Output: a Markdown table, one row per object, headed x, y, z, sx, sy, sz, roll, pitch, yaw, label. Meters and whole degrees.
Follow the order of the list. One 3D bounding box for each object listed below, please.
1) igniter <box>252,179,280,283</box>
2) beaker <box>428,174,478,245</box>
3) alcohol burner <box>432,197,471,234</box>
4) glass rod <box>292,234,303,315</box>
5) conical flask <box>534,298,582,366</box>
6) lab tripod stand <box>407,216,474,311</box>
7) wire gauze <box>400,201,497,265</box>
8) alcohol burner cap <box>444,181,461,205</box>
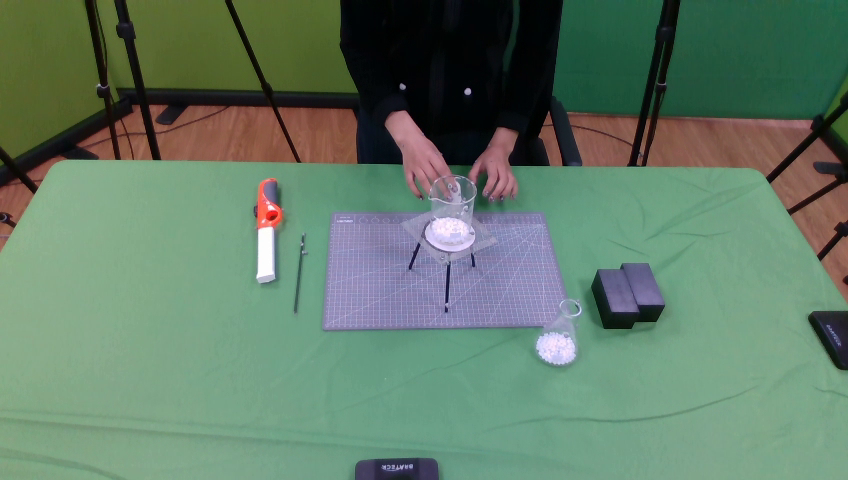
| x | y | z | sx | sy | sz | roll | pitch | yaw | label |
| --- | --- | --- | --- | --- | --- | --- | --- | --- | --- |
| -0.312 | -0.027 | 1.197 | 0.057 | 0.025 | 0.274 | -12 | 47 | -1 | igniter |
| 0.043 | -0.047 | 1.009 | 0.084 | 0.101 | 0.073 | -16 | 48 | -19 | beaker |
| 0.056 | -0.070 | 1.205 | 0.078 | 0.120 | 0.077 | 1 | 47 | -1 | alcohol burner |
| -0.236 | 0.060 | 1.134 | 0.008 | 0.008 | 0.198 | -1 | 46 | -4 | glass rod |
| 0.229 | 0.149 | 1.005 | 0.075 | 0.122 | 0.075 | 2 | 46 | -2 | conical flask |
| 0.039 | 0.030 | 1.092 | 0.148 | 0.132 | 0.147 | 2 | 44 | -2 | lab tripod stand |
| 0.042 | -0.013 | 1.043 | 0.125 | 0.011 | 0.120 | -24 | 49 | -23 | wire gauze |
| 0.056 | -0.094 | 1.177 | 0.034 | 0.048 | 0.033 | -1 | 53 | 1 | alcohol burner cap |
